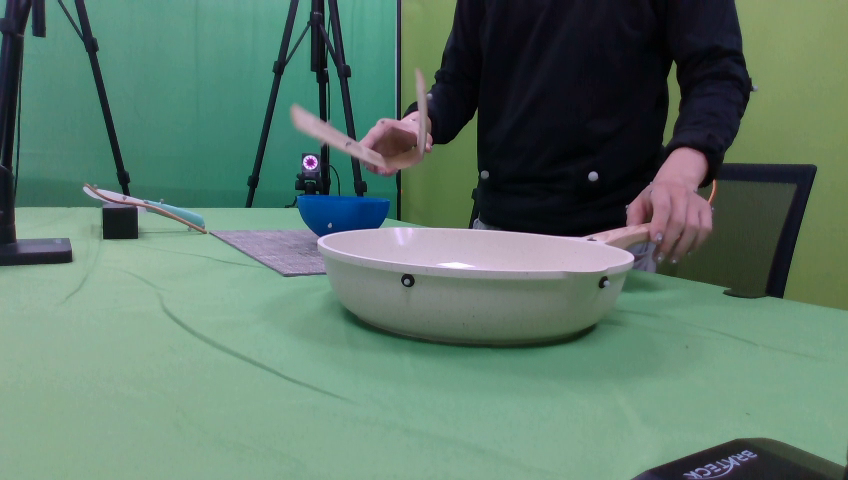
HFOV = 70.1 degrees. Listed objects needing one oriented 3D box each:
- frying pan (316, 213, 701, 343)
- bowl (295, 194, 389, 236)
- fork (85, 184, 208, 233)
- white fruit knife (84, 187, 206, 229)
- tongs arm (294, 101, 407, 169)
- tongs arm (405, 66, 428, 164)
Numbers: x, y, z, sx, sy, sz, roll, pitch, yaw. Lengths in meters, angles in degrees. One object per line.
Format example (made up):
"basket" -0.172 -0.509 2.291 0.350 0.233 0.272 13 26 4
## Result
"frying pan" 0.133 0.014 0.629 0.490 0.102 0.305 -12 14 -30
"bowl" -0.132 -0.032 0.980 0.151 0.077 0.151 2 7 0
"fork" -0.462 -0.051 1.019 0.208 0.018 0.028 22 -11 -37
"white fruit knife" -0.488 -0.059 1.071 0.208 0.027 0.016 17 4 -33
"tongs arm" -0.080 -0.133 0.805 0.051 0.026 0.385 -17 -4 8
"tongs arm" -0.010 -0.151 0.800 0.028 0.027 0.387 -20 -3 -3
